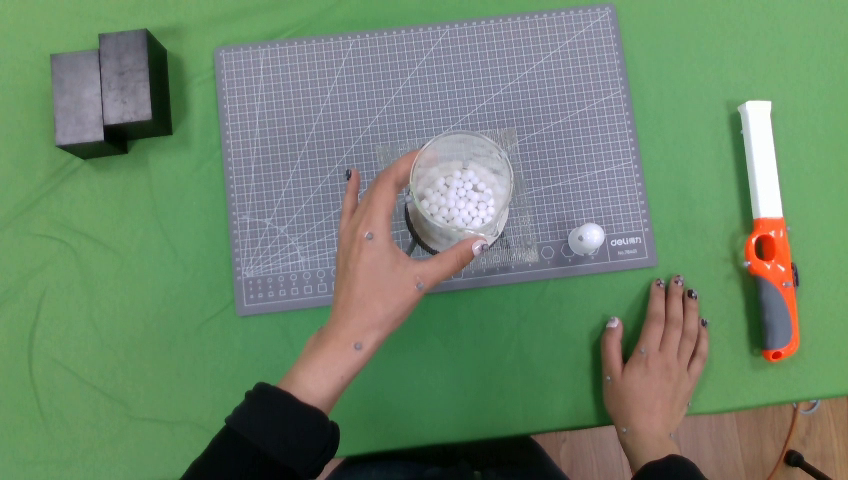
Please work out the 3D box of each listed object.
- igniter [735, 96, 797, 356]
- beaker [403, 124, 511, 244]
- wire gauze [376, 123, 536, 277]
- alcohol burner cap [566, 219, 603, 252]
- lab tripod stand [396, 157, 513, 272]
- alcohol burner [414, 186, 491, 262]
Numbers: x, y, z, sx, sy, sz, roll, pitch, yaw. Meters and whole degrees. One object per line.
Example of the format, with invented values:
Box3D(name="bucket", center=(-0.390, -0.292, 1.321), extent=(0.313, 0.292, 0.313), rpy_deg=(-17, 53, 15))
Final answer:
Box3D(name="igniter", center=(0.362, -0.017, 0.643), extent=(0.057, 0.025, 0.275), rpy_deg=(-1, 83, -10))
Box3D(name="beaker", center=(0.028, -0.035, 0.473), extent=(0.074, 0.100, 0.083), rpy_deg=(-30, 82, -3))
Box3D(name="wire gauze", center=(0.027, -0.035, 0.521), extent=(0.125, 0.011, 0.121), rpy_deg=(-9, 81, 1))
Box3D(name="alcohol burner cap", center=(0.169, -0.006, 0.631), extent=(0.034, 0.048, 0.034), rpy_deg=(0, 83, 1))
Box3D(name="lab tripod stand", center=(0.025, -0.024, 0.586), extent=(0.148, 0.132, 0.148), rpy_deg=(0, 82, 2))
Box3D(name="alcohol burner", center=(0.029, -0.019, 0.596), extent=(0.078, 0.119, 0.077), rpy_deg=(0, 81, -1))
